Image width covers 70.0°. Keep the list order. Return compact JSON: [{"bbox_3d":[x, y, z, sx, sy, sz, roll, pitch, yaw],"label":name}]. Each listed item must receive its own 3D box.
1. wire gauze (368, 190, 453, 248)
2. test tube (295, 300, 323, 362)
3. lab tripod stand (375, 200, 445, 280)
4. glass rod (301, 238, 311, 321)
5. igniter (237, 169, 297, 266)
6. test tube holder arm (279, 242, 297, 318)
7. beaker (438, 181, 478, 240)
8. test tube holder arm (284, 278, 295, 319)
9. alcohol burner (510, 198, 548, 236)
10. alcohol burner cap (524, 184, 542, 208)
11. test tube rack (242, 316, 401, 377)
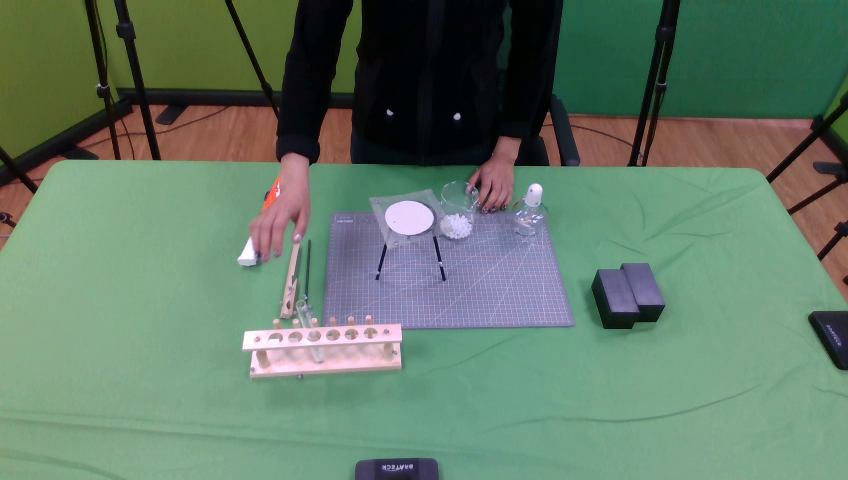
[{"bbox_3d":[-0.025,-0.042,1.064,0.121,0.011,0.124,-11,48,-17],"label":"wire gauze"},{"bbox_3d":[-0.176,0.143,0.934,0.017,0.151,0.017,-2,46,2],"label":"test tube"},{"bbox_3d":[-0.023,0.004,1.113,0.148,0.132,0.147,4,45,-3],"label":"lab tripod stand"},{"bbox_3d":[-0.218,0.069,1.125,0.008,0.008,0.198,-1,47,-5],"label":"glass rod"},{"bbox_3d":[-0.313,-0.055,1.224,0.057,0.025,0.275,1,45,10],"label":"igniter"},{"bbox_3d":[-0.248,0.069,1.114,0.013,0.015,0.177,25,39,-27],"label":"test tube holder arm"},{"bbox_3d":[0.066,-0.053,1.200,0.074,0.101,0.083,-17,50,-19],"label":"beaker"},{"bbox_3d":[-0.241,0.103,1.085,0.010,0.015,0.087,25,39,-27],"label":"test tube holder arm"},{"bbox_3d":[0.214,-0.066,1.213,0.078,0.119,0.077,3,48,-3],"label":"alcohol burner"},{"bbox_3d":[0.216,-0.089,1.186,0.034,0.048,0.033,1,55,-2],"label":"alcohol burner cap"},{"bbox_3d":[-0.160,0.166,0.983,0.242,0.085,0.066,-2,46,-6],"label":"test tube rack"}]
